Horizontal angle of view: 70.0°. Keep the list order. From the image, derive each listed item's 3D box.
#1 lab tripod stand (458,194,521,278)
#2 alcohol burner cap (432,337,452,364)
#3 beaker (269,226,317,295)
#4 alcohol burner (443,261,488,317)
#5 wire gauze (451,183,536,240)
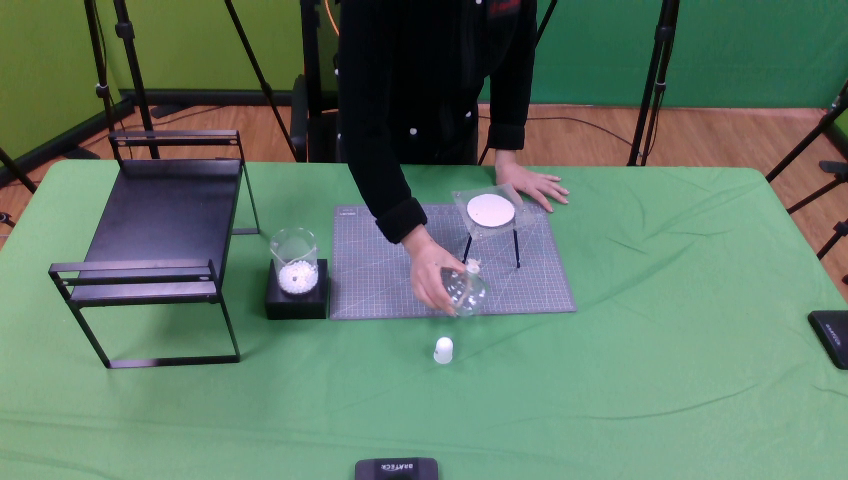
[{"bbox_3d":[0.116,-0.011,1.135,0.148,0.132,0.147,1,45,-1],"label":"lab tripod stand"},{"bbox_3d":[0.031,0.182,1.011,0.034,0.048,0.033,5,46,-5],"label":"alcohol burner cap"},{"bbox_3d":[-0.218,0.040,1.020,0.074,0.101,0.083,7,47,2],"label":"beaker"},{"bbox_3d":[0.072,0.074,1.011,0.078,0.119,0.077,5,48,-6],"label":"alcohol burner"},{"bbox_3d":[0.123,-0.057,1.087,0.121,0.011,0.124,-12,47,-14],"label":"wire gauze"}]
